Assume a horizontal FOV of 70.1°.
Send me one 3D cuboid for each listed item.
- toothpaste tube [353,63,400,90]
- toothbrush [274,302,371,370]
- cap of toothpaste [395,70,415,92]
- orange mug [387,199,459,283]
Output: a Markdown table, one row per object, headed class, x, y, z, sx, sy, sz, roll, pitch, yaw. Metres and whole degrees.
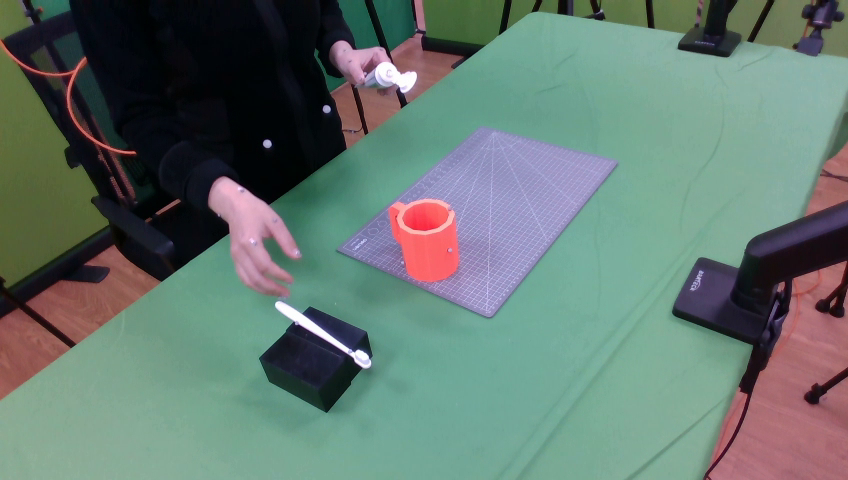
| class | x | y | z | sx | sy | sz | roll | pitch | yaw |
| --- | --- | --- | --- | --- | --- | --- | --- | --- | --- |
| toothpaste tube | -0.071 | -0.253 | 0.960 | 0.055 | 0.034 | 0.164 | 3 | 6 | -18 |
| toothbrush | -0.136 | 0.120 | 0.783 | 0.180 | 0.017 | 0.014 | 25 | 53 | 32 |
| cap of toothpaste | -0.028 | -0.234 | 0.884 | 0.037 | 0.011 | 0.037 | -27 | 50 | 37 |
| orange mug | -0.006 | -0.007 | 0.923 | 0.125 | 0.101 | 0.084 | 32 | 54 | 32 |
